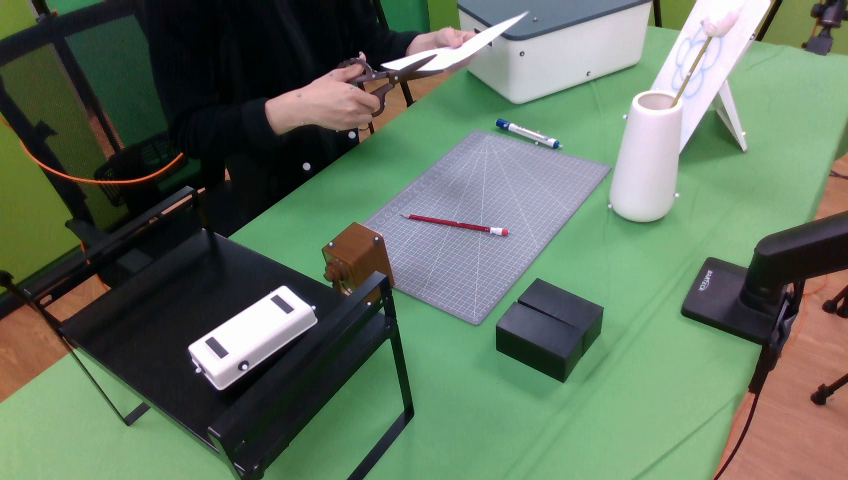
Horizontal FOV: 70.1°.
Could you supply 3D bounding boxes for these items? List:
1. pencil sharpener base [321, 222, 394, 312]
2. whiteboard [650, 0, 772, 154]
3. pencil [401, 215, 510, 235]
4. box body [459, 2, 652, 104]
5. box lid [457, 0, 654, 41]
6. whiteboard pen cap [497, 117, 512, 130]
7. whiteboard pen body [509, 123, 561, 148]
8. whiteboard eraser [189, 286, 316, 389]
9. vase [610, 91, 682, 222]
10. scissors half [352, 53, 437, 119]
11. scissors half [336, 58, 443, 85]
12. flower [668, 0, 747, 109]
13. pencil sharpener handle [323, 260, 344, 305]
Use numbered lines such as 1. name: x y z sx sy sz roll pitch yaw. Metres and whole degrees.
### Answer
1. pencil sharpener base: -0.096 0.041 0.873 0.061 0.107 0.077 26 54 32
2. whiteboard: 0.543 -0.298 1.076 0.144 0.305 0.216 12 40 -7
3. pencil: 0.049 -0.027 1.007 0.193 0.012 0.012 10 43 21
4. box body: 0.291 -0.465 1.371 0.365 0.161 0.252 -22 42 -16
5. box lid: 0.285 -0.522 1.323 0.373 0.015 0.261 -22 43 -16
6. whiteboard pen cap: 0.165 -0.235 1.226 0.033 0.018 0.018 32 53 31
7. whiteboard pen body: 0.209 -0.212 1.195 0.139 0.017 0.017 30 52 33
8. whiteboard eraser: -0.166 0.096 0.593 0.113 0.042 0.055 -36 47 -29
9. vase: 0.348 -0.125 0.935 0.098 0.201 0.097 -3 40 3
10. scissors half: -0.045 -0.232 0.913 0.174 0.040 0.013 -30 16 36
11. scissors half: -0.055 -0.252 0.903 0.174 0.040 0.013 6 38 19
12. flower: 0.354 -0.187 0.879 0.038 0.362 0.044 30 48 14
13. pencil sharpener handle: -0.131 0.061 0.839 0.035 0.068 0.031 29 56 27
